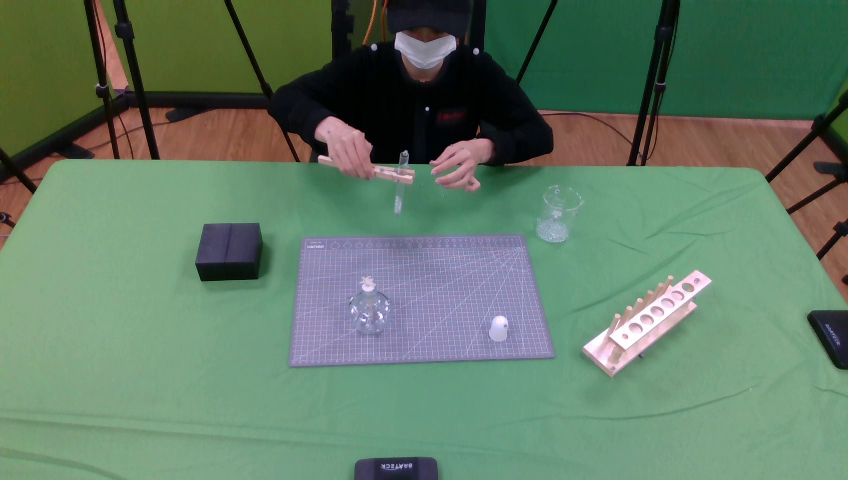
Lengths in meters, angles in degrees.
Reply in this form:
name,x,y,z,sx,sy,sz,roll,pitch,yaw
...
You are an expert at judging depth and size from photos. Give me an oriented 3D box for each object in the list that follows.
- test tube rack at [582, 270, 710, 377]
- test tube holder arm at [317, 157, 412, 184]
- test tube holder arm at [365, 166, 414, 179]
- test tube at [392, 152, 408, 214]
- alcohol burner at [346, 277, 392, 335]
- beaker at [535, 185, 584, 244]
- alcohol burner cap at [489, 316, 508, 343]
name,x,y,z,sx,sy,sz,roll,pitch,yaw
test tube rack,0.389,0.132,1.057,0.242,0.085,0.066,-28,53,-28
test tube holder arm,-0.107,-0.124,1.075,0.178,0.015,0.013,12,45,10
test tube holder arm,-0.062,-0.120,1.072,0.088,0.015,0.010,6,45,5
test tube,-0.044,-0.098,1.085,0.017,0.151,0.017,5,50,-5
alcohol burner,-0.093,0.106,1.021,0.078,0.120,0.077,1,46,-1
beaker,0.268,-0.048,1.213,0.084,0.101,0.073,6,46,0
alcohol burner cap,0.130,0.151,1.045,0.034,0.048,0.033,2,46,-2
